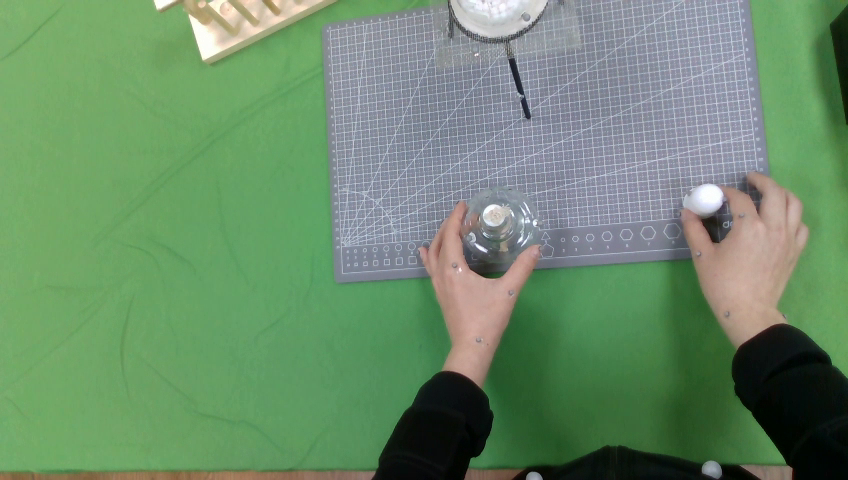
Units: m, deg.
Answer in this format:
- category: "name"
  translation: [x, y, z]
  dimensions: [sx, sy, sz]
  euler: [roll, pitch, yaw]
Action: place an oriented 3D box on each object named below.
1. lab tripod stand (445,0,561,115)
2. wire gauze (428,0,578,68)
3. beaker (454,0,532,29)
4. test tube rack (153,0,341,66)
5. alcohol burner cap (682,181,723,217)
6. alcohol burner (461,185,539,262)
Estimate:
- category: "lab tripod stand"
  translation: [0.079, -0.207, 0.585]
  dimensions: [0.148, 0.132, 0.148]
  euler: [-1, 86, 12]
- category: "wire gauze"
  translation: [0.064, -0.213, 0.521]
  dimensions: [0.125, 0.011, 0.121]
  euler: [-5, 88, 10]
- category: "beaker"
  translation: [0.047, -0.218, 0.476]
  dimensions: [0.083, 0.100, 0.074]
  euler: [9, 88, 14]
- category: "test tube rack"
  translation: [-0.173, -0.290, 0.680]
  dimensions: [0.242, 0.085, 0.066]
  euler: [-22, 80, 11]
- category: "alcohol burner cap"
  translation: [0.266, -0.041, 0.575]
  dimensions: [0.034, 0.048, 0.034]
  euler: [-1, 85, 13]
- category: "alcohol burner"
  translation: [0.071, -0.018, 0.583]
  dimensions: [0.078, 0.119, 0.077]
  euler: [-1, 84, 12]
